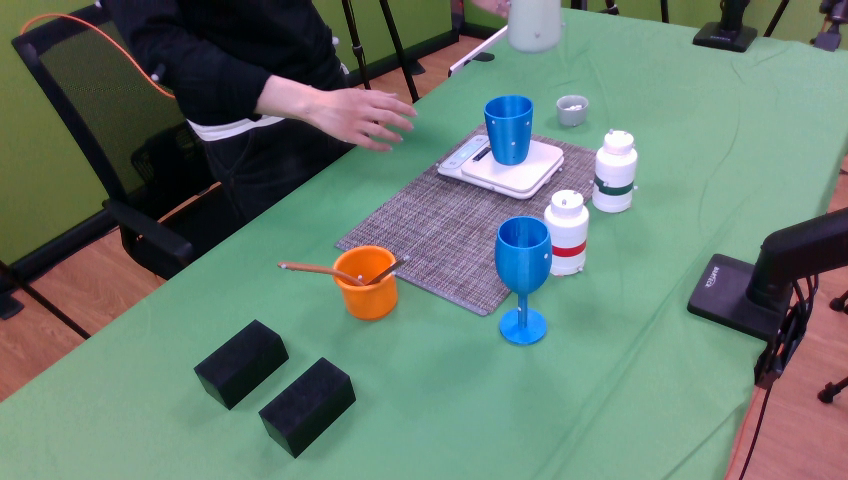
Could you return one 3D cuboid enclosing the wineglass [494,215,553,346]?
[{"bbox_3d":[0.127,0.055,0.770,0.074,0.173,0.073,-4,40,4],"label":"wineglass"}]

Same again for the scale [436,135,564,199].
[{"bbox_3d":[0.137,-0.142,1.101,0.199,0.032,0.149,22,48,30],"label":"scale"}]

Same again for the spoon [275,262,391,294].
[{"bbox_3d":[-0.120,0.050,0.830,0.041,0.195,0.021,31,97,45],"label":"spoon"}]

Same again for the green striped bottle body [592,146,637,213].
[{"bbox_3d":[0.307,-0.108,0.976,0.063,0.120,0.063,-4,41,4],"label":"green striped bottle body"}]

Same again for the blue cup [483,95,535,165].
[{"bbox_3d":[0.148,-0.188,1.053,0.092,0.100,0.092,-6,39,5],"label":"blue cup"}]

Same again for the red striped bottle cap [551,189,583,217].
[{"bbox_3d":[0.200,-0.052,0.843,0.044,0.018,0.044,-2,42,2],"label":"red striped bottle cap"}]

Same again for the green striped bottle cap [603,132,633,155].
[{"bbox_3d":[0.302,-0.149,0.939,0.044,0.020,0.044,-3,40,3],"label":"green striped bottle cap"}]

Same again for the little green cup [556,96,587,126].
[{"bbox_3d":[0.295,-0.258,1.214,0.061,0.039,0.061,-4,42,4],"label":"little green cup"}]

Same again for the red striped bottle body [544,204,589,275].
[{"bbox_3d":[0.206,-0.011,0.877,0.063,0.120,0.062,-5,41,4],"label":"red striped bottle body"}]

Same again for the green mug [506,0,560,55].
[{"bbox_3d":[0.179,-0.386,1.034,0.093,0.105,0.124,-14,40,-9],"label":"green mug"}]

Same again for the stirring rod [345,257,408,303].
[{"bbox_3d":[-0.067,0.057,0.815,0.014,0.175,0.006,-24,82,-38],"label":"stirring rod"}]
